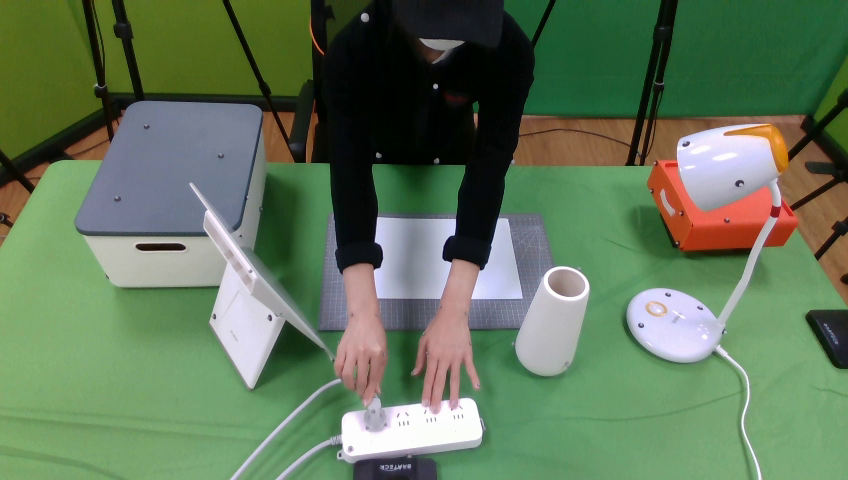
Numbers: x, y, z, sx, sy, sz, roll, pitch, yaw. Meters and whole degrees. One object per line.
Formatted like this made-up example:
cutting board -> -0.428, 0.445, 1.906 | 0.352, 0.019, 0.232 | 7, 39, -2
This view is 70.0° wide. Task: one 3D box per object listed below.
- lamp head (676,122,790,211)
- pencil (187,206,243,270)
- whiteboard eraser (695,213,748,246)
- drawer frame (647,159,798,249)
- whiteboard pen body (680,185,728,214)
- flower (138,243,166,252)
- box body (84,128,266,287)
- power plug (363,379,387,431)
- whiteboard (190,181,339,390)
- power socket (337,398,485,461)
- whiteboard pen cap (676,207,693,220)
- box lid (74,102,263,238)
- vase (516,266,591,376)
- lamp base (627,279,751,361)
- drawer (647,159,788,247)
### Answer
lamp head -> 0.424, -0.104, 0.819 | 0.122, 0.113, 0.112 | -13, 33, 40
pencil -> -0.401, -0.008, 1.176 | 0.012, 0.012, 0.193 | 15, 44, 10
whiteboard eraser -> 0.592, -0.019, 1.209 | 0.113, 0.042, 0.055 | 12, 27, -36
drawer frame -> 0.588, -0.077, 1.219 | 0.214, 0.083, 0.200 | -2, 45, -5
whiteboard pen body -> 0.571, -0.081, 1.238 | 0.141, 0.017, 0.017 | -27, 54, -22
flower -> -0.443, -0.044, 1.194 | 0.044, 0.038, 0.361 | 45, 47, -7
box body -> -0.447, -0.088, 1.150 | 0.254, 0.161, 0.361 | -1, 46, -5
power plug -> -0.072, 0.252, 0.911 | 0.035, 0.053, 0.072 | 3, 43, -2
whiteboard -> -0.292, 0.096, 0.929 | 0.144, 0.307, 0.216 | -37, 57, -10
power socket -> -0.018, 0.285, 0.915 | 0.227, 0.033, 0.071 | -4, 46, -8
whiteboard pen cap -> 0.524, -0.053, 1.216 | 0.033, 0.018, 0.018 | -28, 54, -23
box lid -> -0.443, -0.138, 1.094 | 0.263, 0.015, 0.369 | 0, 46, -5
vase -> 0.208, 0.132, 0.964 | 0.098, 0.201, 0.097 | 3, 46, -3
lamp base -> 0.460, 0.100, 1.027 | 0.178, 0.181, 0.160 | 27, 51, 17
drawer -> 0.582, -0.079, 1.214 | 0.212, 0.073, 0.193 | -1, 45, -5
